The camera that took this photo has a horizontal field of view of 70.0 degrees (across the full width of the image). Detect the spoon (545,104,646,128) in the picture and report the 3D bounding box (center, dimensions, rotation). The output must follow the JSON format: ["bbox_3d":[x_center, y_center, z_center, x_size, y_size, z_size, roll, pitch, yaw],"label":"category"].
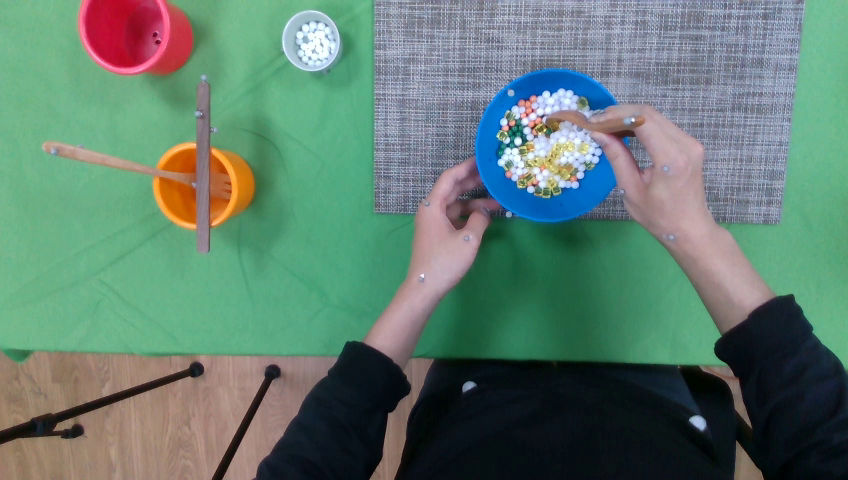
[{"bbox_3d":[0.152,-0.109,0.541,0.042,0.192,0.022,10,103,-9],"label":"spoon"}]

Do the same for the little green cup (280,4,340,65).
[{"bbox_3d":[-0.120,-0.218,0.653,0.061,0.038,0.062,1,100,5],"label":"little green cup"}]

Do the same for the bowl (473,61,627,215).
[{"bbox_3d":[0.126,-0.105,0.631,0.151,0.076,0.152,1,100,4],"label":"bowl"}]

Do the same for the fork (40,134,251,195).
[{"bbox_3d":[-0.281,-0.078,0.633,0.209,0.018,0.028,11,107,-42],"label":"fork"}]

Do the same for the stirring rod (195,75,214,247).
[{"bbox_3d":[-0.227,-0.079,0.627,0.014,0.006,0.176,3,100,5],"label":"stirring rod"}]
